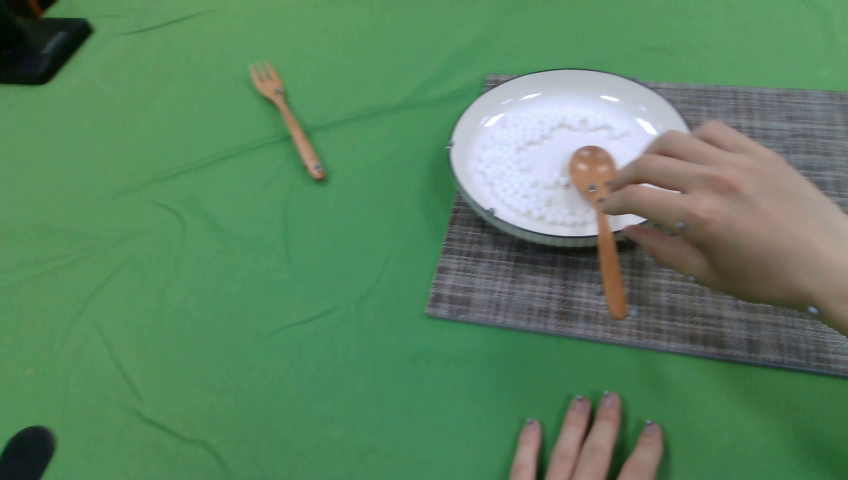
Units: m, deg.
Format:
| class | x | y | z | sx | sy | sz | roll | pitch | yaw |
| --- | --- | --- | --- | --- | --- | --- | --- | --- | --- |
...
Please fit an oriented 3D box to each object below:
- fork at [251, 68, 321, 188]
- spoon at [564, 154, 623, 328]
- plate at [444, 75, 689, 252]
| class | x | y | z | sx | sy | sz | roll | pitch | yaw |
| --- | --- | --- | --- | --- | --- | --- | --- | --- | --- |
| fork | -0.145 | -0.122 | 0.635 | 0.028 | 0.019 | 0.205 | -20 | 50 | -16 |
| spoon | 0.134 | -0.008 | 0.470 | 0.041 | 0.022 | 0.192 | 2 | 39 | 7 |
| plate | 0.122 | -0.068 | 0.538 | 0.207 | 0.039 | 0.205 | -4 | 52 | 5 |
